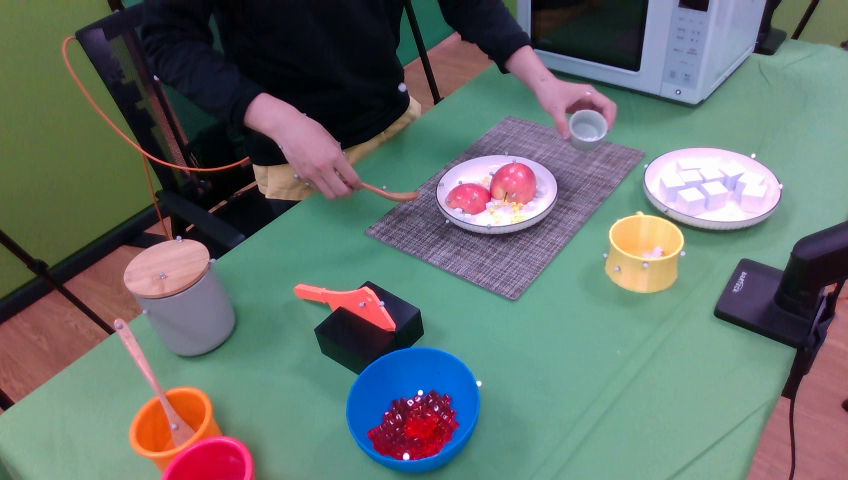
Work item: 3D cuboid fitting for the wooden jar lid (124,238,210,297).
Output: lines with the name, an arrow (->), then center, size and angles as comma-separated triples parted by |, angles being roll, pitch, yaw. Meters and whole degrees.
wooden jar lid -> -0.335, 0.039, 0.794 | 0.108, 0.021, 0.108 | -2, 40, 2

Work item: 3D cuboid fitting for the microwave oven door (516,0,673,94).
microwave oven door -> 0.344, -0.458, 1.257 | 0.353, 0.245, 0.039 | 26, 52, 33

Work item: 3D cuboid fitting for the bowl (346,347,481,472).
bowl -> -0.008, 0.205, 0.691 | 0.151, 0.077, 0.150 | -4, 40, 4

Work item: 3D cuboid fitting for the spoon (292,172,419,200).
spoon -> -0.102, -0.085, 0.917 | 0.195, 0.021, 0.041 | 11, 12, -16

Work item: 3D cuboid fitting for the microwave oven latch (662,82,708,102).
microwave oven latch -> 0.517, -0.298, 1.203 | 0.078, 0.029, 0.030 | 27, 52, 34

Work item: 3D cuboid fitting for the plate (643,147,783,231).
plate -> 0.464, -0.080, 0.986 | 0.207, 0.039, 0.206 | -4, 41, 4

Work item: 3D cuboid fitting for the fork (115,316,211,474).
fork -> -0.308, 0.179, 0.708 | 0.028, 0.018, 0.207 | -30, 89, -22

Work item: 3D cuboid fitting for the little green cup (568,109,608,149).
little green cup -> 0.269, -0.182, 1.002 | 0.061, 0.039, 0.061 | 0, 69, 1

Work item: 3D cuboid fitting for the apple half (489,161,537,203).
apple half -> 0.154, -0.106, 1.030 | 0.080, 0.053, 0.075 | 22, 46, 31

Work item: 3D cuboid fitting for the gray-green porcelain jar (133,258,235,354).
gray-green porcelain jar -> -0.327, 0.086, 0.836 | 0.106, 0.127, 0.105 | -4, 41, 4

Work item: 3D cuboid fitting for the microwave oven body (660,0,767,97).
microwave oven body -> 0.474, -0.517, 1.314 | 0.438, 0.261, 0.327 | 26, 52, 34

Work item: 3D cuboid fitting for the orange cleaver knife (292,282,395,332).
orange cleaver knife -> -0.116, 0.091, 0.835 | 0.209, 0.077, 0.012 | 2, 32, 48

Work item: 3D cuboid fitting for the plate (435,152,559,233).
plate -> 0.123, -0.078, 1.026 | 0.209, 0.038, 0.208 | -4, 40, 4

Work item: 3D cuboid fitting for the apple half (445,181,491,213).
apple half -> 0.077, -0.083, 1.029 | 0.081, 0.033, 0.081 | -2, 41, 2

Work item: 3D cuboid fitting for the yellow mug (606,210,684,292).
yellow mug -> 0.318, 0.007, 0.883 | 0.100, 0.064, 0.130 | 0, 41, 8
